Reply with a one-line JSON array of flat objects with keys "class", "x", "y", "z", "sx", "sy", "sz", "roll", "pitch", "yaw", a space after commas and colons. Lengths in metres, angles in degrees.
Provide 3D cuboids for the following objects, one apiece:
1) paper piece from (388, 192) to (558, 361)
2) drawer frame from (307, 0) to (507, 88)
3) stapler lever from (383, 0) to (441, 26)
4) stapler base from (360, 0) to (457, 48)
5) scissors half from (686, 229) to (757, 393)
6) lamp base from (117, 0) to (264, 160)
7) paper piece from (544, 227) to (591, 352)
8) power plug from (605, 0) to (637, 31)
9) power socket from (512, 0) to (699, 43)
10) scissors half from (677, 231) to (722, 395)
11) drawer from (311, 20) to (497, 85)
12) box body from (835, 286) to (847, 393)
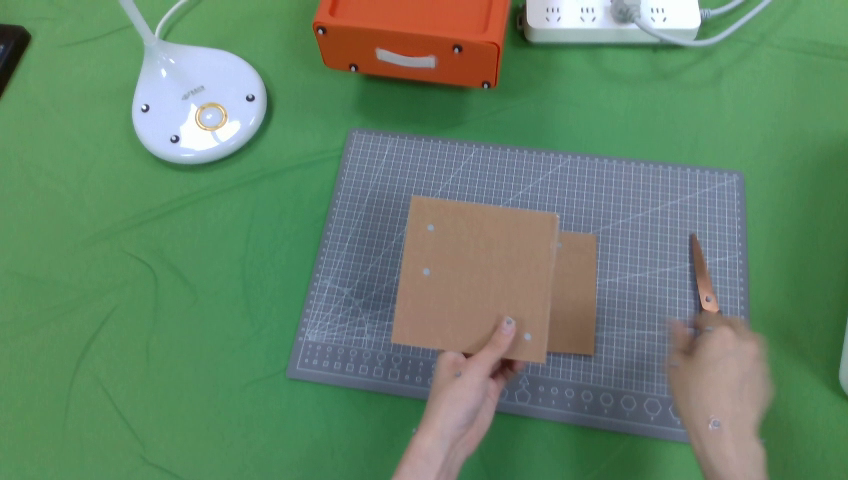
[{"class": "paper piece", "x": 0.044, "y": 0.029, "z": 0.533, "sx": 0.136, "sy": 0.009, "sz": 0.137, "roll": 8, "pitch": 79, "yaw": 3}, {"class": "drawer frame", "x": -0.005, "y": -0.292, "z": 0.692, "sx": 0.201, "sy": 0.083, "sz": 0.212, "roll": 8, "pitch": 67, "yaw": 7}, {"class": "stapler lever", "x": -0.030, "y": -0.277, "z": 0.680, "sx": 0.117, "sy": 0.040, "sz": 0.027, "roll": 38, "pitch": 89, "yaw": 20}, {"class": "stapler base", "x": -0.022, "y": -0.272, "z": 0.704, "sx": 0.129, "sy": 0.024, "sz": 0.041, "roll": 38, "pitch": 90, "yaw": 19}, {"class": "scissors half", "x": 0.292, "y": 0.066, "z": 0.609, "sx": 0.040, "sy": 0.013, "sz": 0.173, "roll": -9, "pitch": 65, "yaw": -3}, {"class": "lamp base", "x": -0.286, "y": -0.204, "z": 0.662, "sx": 0.178, "sy": 0.181, "sz": 0.160, "roll": 40, "pitch": 74, "yaw": 20}, {"class": "paper piece", "x": 0.106, "y": 0.043, "z": 0.630, "sx": 0.135, "sy": 0.004, "sz": 0.135, "roll": 6, "pitch": 68, "yaw": 6}, {"class": "power plug", "x": 0.231, "y": -0.264, "z": 0.718, "sx": 0.035, "sy": 0.053, "sz": 0.072, "roll": 12, "pitch": 68, "yaw": 8}, {"class": "power socket", "x": 0.225, "y": -0.281, "z": 0.751, "sx": 0.226, "sy": 0.033, "sz": 0.071, "roll": 2, "pitch": 68, "yaw": 3}, {"class": "scissors half", "x": 0.272, "y": 0.067, "z": 0.608, "sx": 0.040, "sy": 0.013, "sz": 0.174, "roll": 9, "pitch": 64, "yaw": 0}, {"class": "drawer", "x": -0.004, "y": -0.289, "z": 0.691, "sx": 0.194, "sy": 0.074, "sz": 0.210, "roll": 9, "pitch": 67, "yaw": 7}, {"class": "box body", "x": 0.554, "y": 0.008, "z": 0.542, "sx": 0.253, "sy": 0.161, "sz": 0.362, "roll": 20, "pitch": 70, "yaw": 11}]
